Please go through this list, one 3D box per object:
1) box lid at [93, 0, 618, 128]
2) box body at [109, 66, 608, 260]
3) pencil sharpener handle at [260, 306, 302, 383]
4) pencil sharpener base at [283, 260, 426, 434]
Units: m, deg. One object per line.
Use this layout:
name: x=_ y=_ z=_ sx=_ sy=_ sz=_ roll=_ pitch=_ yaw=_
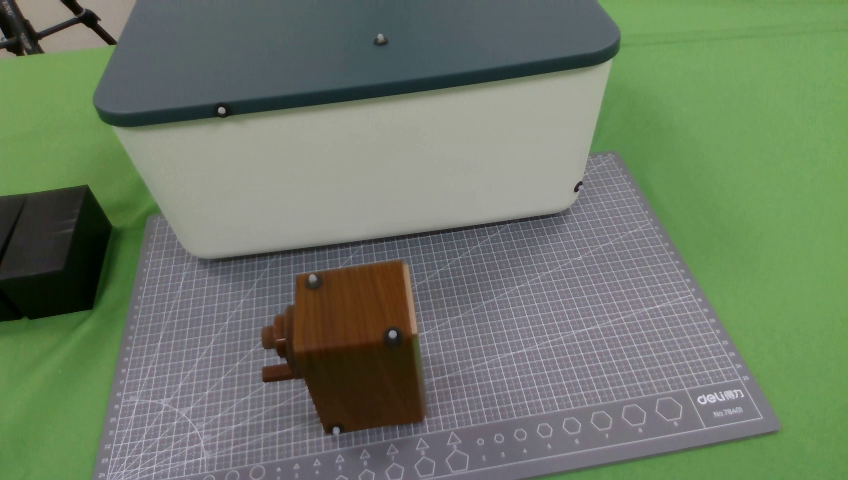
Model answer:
box lid: x=-0.058 y=-0.187 z=0.494 sx=0.372 sy=0.015 sz=0.260 roll=-8 pitch=45 yaw=-4
box body: x=-0.052 y=-0.135 z=0.548 sx=0.364 sy=0.162 sz=0.251 roll=-8 pitch=46 yaw=-4
pencil sharpener handle: x=-0.093 y=0.070 z=0.378 sx=0.031 sy=0.068 sz=0.035 roll=-8 pitch=50 yaw=-2
pencil sharpener base: x=-0.042 y=0.072 z=0.389 sx=0.077 sy=0.108 sz=0.060 roll=-8 pitch=47 yaw=-2
